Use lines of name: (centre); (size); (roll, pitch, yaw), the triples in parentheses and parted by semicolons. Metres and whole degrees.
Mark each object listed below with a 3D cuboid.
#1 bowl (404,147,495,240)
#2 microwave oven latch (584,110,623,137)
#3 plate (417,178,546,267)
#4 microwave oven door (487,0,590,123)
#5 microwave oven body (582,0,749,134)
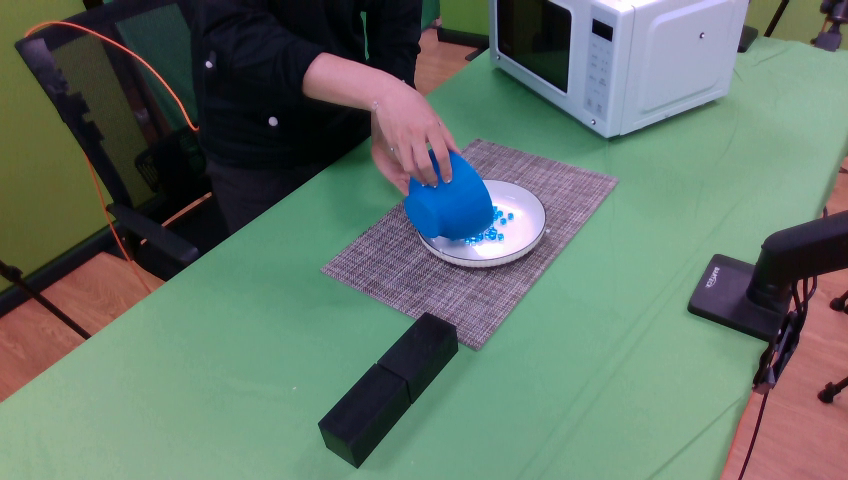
bowl: (0.023, -0.054, 0.892); (0.077, 0.152, 0.150); (-38, 49, -25)
microwave oven latch: (0.337, -0.222, 1.142); (0.030, 0.029, 0.078); (-21, 42, -14)
plate: (0.091, -0.026, 0.970); (0.207, 0.039, 0.206); (-4, 41, 4)
microwave oven door: (0.232, -0.420, 1.231); (0.039, 0.245, 0.352); (-22, 43, -16)
microwave oven body: (0.382, -0.445, 1.246); (0.327, 0.261, 0.437); (-22, 42, -16)
